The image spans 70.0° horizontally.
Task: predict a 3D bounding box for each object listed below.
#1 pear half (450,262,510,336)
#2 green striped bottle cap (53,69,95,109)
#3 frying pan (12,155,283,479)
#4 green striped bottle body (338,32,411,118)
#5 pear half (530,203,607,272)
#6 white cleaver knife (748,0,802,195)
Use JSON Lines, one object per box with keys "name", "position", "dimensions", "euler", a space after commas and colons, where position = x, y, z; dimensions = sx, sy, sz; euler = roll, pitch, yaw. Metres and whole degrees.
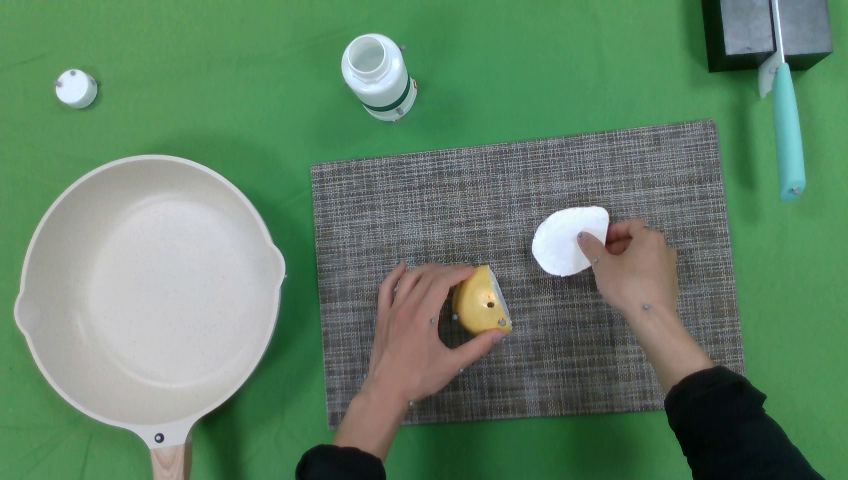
{"name": "pear half", "position": [0.054, 0.064, 0.612], "dimensions": [0.056, 0.110, 0.076], "euler": [-26, 83, 3]}
{"name": "green striped bottle cap", "position": [-0.421, -0.182, 0.729], "dimensions": [0.044, 0.020, 0.044], "euler": [-1, 86, 7]}
{"name": "frying pan", "position": [-0.278, 0.154, 0.650], "dimensions": [0.306, 0.103, 0.485], "euler": [-10, 77, 6]}
{"name": "green striped bottle body", "position": [-0.051, -0.175, 0.638], "dimensions": [0.063, 0.119, 0.063], "euler": [0, 85, 6]}
{"name": "pear half", "position": [0.157, -0.003, 0.644], "dimensions": [0.088, 0.031, 0.070], "euler": [-39, 70, 1]}
{"name": "white cleaver knife", "position": [0.356, -0.187, 0.622], "dimensions": [0.021, 0.066, 0.285], "euler": [-3, 84, 12]}
